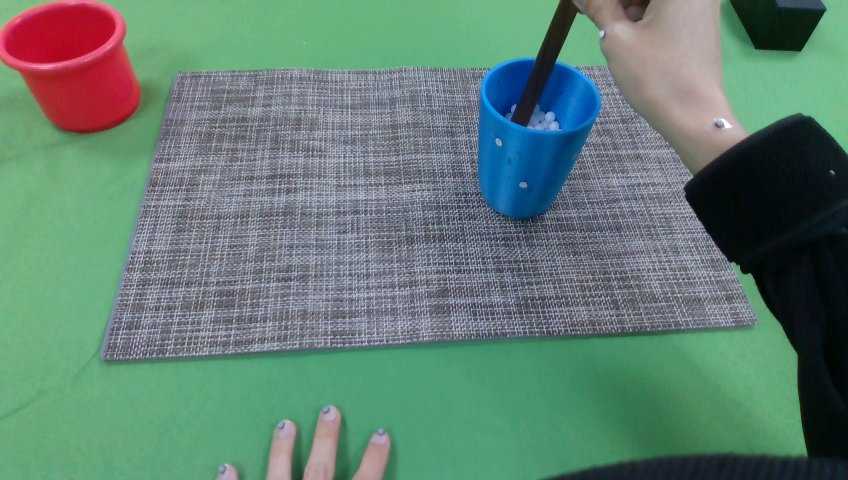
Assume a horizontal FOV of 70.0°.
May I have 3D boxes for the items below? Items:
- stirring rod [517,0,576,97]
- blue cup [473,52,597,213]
[{"bbox_3d":[0.086,-0.143,0.397,0.014,0.177,0.006,20,51,0],"label":"stirring rod"},{"bbox_3d":[0.075,-0.074,0.460,0.093,0.101,0.091,2,52,-3],"label":"blue cup"}]
